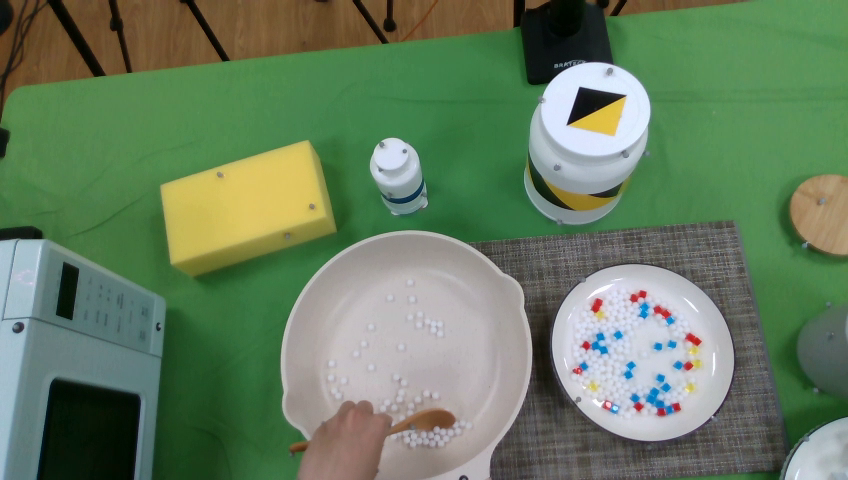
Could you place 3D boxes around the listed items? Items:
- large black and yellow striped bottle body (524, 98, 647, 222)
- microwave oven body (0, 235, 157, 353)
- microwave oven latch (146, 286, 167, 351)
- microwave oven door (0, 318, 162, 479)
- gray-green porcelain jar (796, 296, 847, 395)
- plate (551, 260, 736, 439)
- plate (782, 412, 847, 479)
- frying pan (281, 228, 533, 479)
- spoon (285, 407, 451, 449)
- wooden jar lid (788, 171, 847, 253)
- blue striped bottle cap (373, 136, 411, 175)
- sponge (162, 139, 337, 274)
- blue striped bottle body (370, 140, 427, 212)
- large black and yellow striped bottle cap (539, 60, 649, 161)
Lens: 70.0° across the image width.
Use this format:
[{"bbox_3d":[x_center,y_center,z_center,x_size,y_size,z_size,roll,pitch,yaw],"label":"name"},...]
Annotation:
[{"bbox_3d":[0.190,-0.111,0.730,0.130,0.185,0.130,-2,71,6],"label":"large black and yellow striped bottle body"},{"bbox_3d":[-0.496,0.248,0.636,0.326,0.262,0.438,-5,72,4],"label":"microwave oven body"},{"bbox_3d":[-0.347,0.100,0.772,0.030,0.030,0.078,-4,72,4],"label":"microwave oven latch"},{"bbox_3d":[-0.351,0.274,0.606,0.039,0.245,0.353,-5,71,4],"label":"microwave oven door"},{"bbox_3d":[0.480,0.112,0.655,0.106,0.127,0.105,-2,71,5],"label":"gray-green porcelain jar"},{"bbox_3d":[0.254,0.126,0.717,0.209,0.038,0.208,-2,72,6],"label":"plate"},{"bbox_3d":[0.487,0.287,0.644,0.207,0.039,0.206,-2,71,6],"label":"plate"},{"bbox_3d":[0.026,0.212,0.677,0.307,0.103,0.483,-27,63,-3],"label":"frying pan"},{"bbox_3d":[-0.057,0.212,0.675,0.195,0.042,0.021,-4,48,-28],"label":"spoon"},{"bbox_3d":[0.511,-0.034,0.757,0.108,0.021,0.107,-2,73,6],"label":"wooden jar lid"},{"bbox_3d":[-0.039,-0.102,0.728,0.044,0.021,0.044,-3,69,7],"label":"blue striped bottle cap"},{"bbox_3d":[-0.234,-0.044,0.816,0.207,0.061,0.117,-18,71,-1],"label":"sponge"},{"bbox_3d":[-0.033,-0.086,0.777,0.063,0.121,0.062,-2,71,5],"label":"blue striped bottle body"},{"bbox_3d":[0.182,-0.140,0.651,0.115,0.019,0.114,-2,73,5],"label":"large black and yellow striped bottle cap"}]
